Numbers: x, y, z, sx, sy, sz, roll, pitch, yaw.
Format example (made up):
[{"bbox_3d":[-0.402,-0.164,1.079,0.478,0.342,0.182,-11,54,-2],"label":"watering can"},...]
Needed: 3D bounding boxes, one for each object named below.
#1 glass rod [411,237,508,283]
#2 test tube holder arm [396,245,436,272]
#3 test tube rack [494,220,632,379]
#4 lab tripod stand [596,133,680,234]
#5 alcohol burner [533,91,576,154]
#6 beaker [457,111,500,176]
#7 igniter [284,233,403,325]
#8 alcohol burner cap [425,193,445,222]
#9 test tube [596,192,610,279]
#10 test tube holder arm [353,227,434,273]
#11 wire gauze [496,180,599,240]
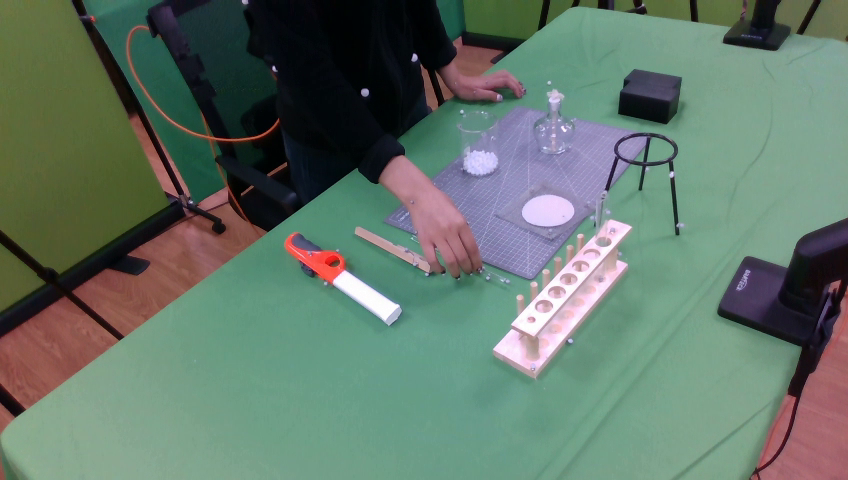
[{"bbox_3d":[0.051,0.029,0.951,0.198,0.008,0.008,24,51,37],"label":"glass rod"},{"bbox_3d":[-0.016,0.029,0.957,0.087,0.015,0.010,25,16,35],"label":"test tube holder arm"},{"bbox_3d":[0.191,0.068,0.818,0.066,0.085,0.243,25,51,35],"label":"test tube rack"},{"bbox_3d":[0.338,-0.091,0.940,0.148,0.132,0.147,-7,39,6],"label":"lab tripod stand"},{"bbox_3d":[0.243,-0.221,1.124,0.078,0.119,0.077,-4,39,4],"label":"alcohol burner"},{"bbox_3d":[0.104,-0.176,1.108,0.073,0.101,0.084,16,46,27],"label":"beaker"},{"bbox_3d":[-0.136,0.054,0.942,0.274,0.025,0.057,29,63,37],"label":"igniter"},{"bbox_3d":[0.017,-0.057,1.029,0.034,0.048,0.033,-7,41,6],"label":"alcohol burner cap"},{"bbox_3d":[0.240,-0.002,0.814,0.017,0.151,0.017,-7,42,7],"label":"test tube"},{"bbox_3d":[-0.053,0.014,0.978,0.177,0.015,0.013,25,16,34],"label":"test tube holder arm"},{"bbox_3d":[0.206,-0.050,1.012,0.125,0.011,0.120,-34,45,-26],"label":"wire gauze"}]
